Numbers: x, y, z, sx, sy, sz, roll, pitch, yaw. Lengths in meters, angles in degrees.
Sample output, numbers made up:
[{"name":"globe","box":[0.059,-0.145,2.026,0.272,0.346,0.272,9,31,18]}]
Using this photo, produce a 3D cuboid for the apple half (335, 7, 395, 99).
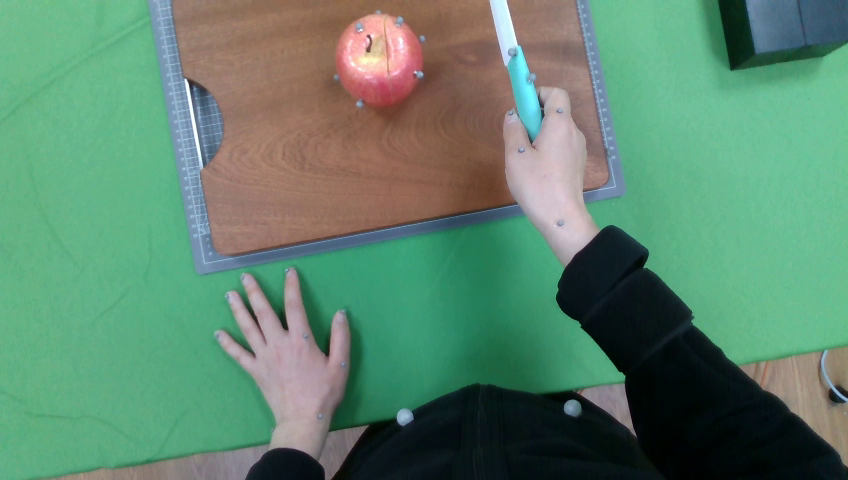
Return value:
[{"name":"apple half","box":[-0.056,-0.171,0.568,0.053,0.074,0.081,-6,92,5]}]

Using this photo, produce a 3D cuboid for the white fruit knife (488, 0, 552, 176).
[{"name":"white fruit knife","box":[0.073,-0.156,0.507,0.016,0.027,0.207,-19,95,-31]}]

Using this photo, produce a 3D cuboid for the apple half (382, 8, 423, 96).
[{"name":"apple half","box":[-0.017,-0.175,0.566,0.033,0.081,0.081,-5,88,3]}]
